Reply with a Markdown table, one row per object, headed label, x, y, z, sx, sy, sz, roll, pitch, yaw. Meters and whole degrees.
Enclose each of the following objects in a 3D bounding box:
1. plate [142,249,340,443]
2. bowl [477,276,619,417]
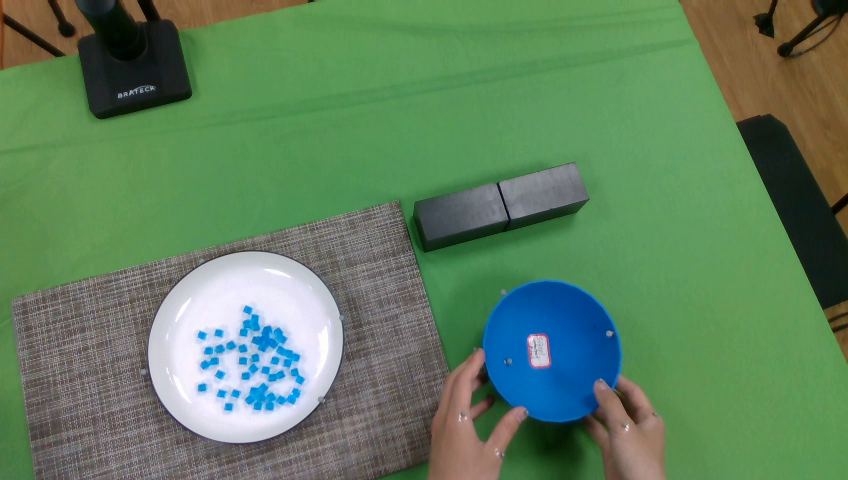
| label | x | y | z | sx | sy | sz | roll | pitch | yaw |
| --- | --- | --- | --- | --- | --- | --- | --- | --- | --- |
| plate | -0.196 | 0.115 | 0.666 | 0.208 | 0.039 | 0.206 | 1 | 74 | -5 |
| bowl | 0.128 | 0.121 | 0.676 | 0.151 | 0.077 | 0.150 | 1 | 74 | -4 |
